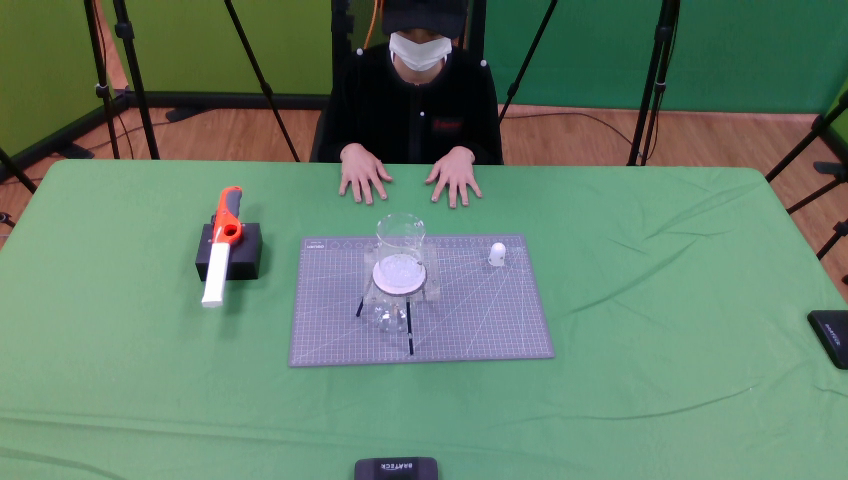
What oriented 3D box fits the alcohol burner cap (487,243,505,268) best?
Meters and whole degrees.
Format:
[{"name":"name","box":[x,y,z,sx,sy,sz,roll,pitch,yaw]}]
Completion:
[{"name":"alcohol burner cap","box":[0.141,0.027,1.166,0.034,0.048,0.033,2,45,-2]}]

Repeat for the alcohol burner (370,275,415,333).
[{"name":"alcohol burner","box":[-0.054,0.103,1.026,0.078,0.120,0.077,1,44,-1]}]

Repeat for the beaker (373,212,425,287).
[{"name":"beaker","box":[-0.036,0.019,0.936,0.074,0.101,0.083,-29,54,-26]}]

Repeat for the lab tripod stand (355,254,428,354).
[{"name":"lab tripod stand","box":[-0.046,0.100,1.017,0.148,0.132,0.147,1,47,-1]}]

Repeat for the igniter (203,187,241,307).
[{"name":"igniter","box":[-0.365,0.003,1.098,0.057,0.025,0.274,-1,49,-7]}]

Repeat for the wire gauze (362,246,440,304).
[{"name":"wire gauze","box":[-0.038,0.052,0.972,0.121,0.011,0.124,0,44,-5]}]
